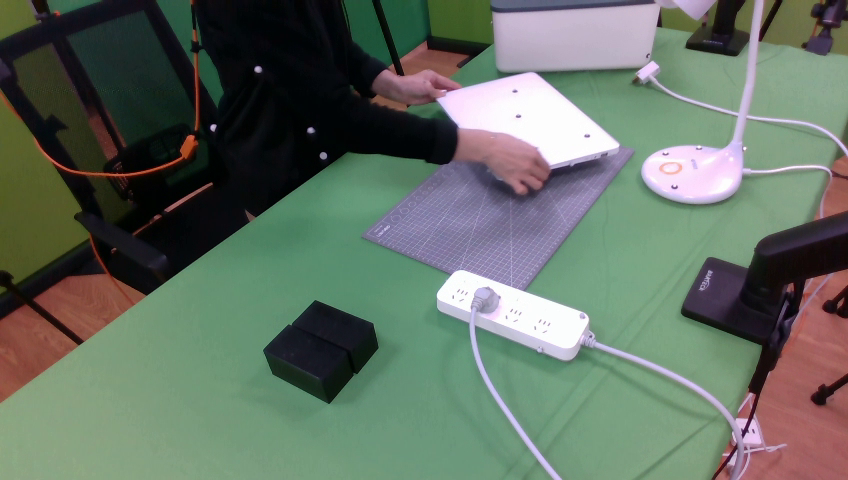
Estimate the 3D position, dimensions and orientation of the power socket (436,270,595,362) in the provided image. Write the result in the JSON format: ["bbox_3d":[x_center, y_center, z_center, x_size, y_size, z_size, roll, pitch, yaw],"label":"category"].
[{"bbox_3d":[0.118,0.101,0.832,0.225,0.033,0.072,19,48,27],"label":"power socket"}]

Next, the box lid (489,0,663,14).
[{"bbox_3d":[0.340,-0.575,1.380,0.371,0.015,0.262,0,41,9],"label":"box lid"}]

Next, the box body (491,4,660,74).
[{"bbox_3d":[0.346,-0.520,1.429,0.363,0.161,0.253,0,41,9],"label":"box body"}]

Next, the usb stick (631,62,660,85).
[{"bbox_3d":[0.480,-0.358,1.317,0.059,0.022,0.027,-35,56,14],"label":"usb stick"}]

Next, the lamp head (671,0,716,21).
[{"bbox_3d":[0.375,-0.373,0.807,0.122,0.113,0.112,-40,27,32],"label":"lamp head"}]

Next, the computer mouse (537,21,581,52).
[{"bbox_3d":[0.335,-0.503,1.487,0.118,0.041,0.062,22,19,-28],"label":"computer mouse"}]

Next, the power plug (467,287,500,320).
[{"bbox_3d":[0.073,0.092,0.814,0.035,0.053,0.073,29,54,35],"label":"power plug"}]

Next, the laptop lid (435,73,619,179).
[{"bbox_3d":[0.183,-0.234,1.168,0.242,0.013,0.354,-15,40,-9],"label":"laptop lid"}]

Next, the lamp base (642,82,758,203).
[{"bbox_3d":[0.464,-0.174,0.992,0.179,0.181,0.159,-5,41,-2],"label":"lamp base"}]

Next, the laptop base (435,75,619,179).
[{"bbox_3d":[0.186,-0.226,1.177,0.236,0.023,0.351,-16,40,-10],"label":"laptop base"}]
